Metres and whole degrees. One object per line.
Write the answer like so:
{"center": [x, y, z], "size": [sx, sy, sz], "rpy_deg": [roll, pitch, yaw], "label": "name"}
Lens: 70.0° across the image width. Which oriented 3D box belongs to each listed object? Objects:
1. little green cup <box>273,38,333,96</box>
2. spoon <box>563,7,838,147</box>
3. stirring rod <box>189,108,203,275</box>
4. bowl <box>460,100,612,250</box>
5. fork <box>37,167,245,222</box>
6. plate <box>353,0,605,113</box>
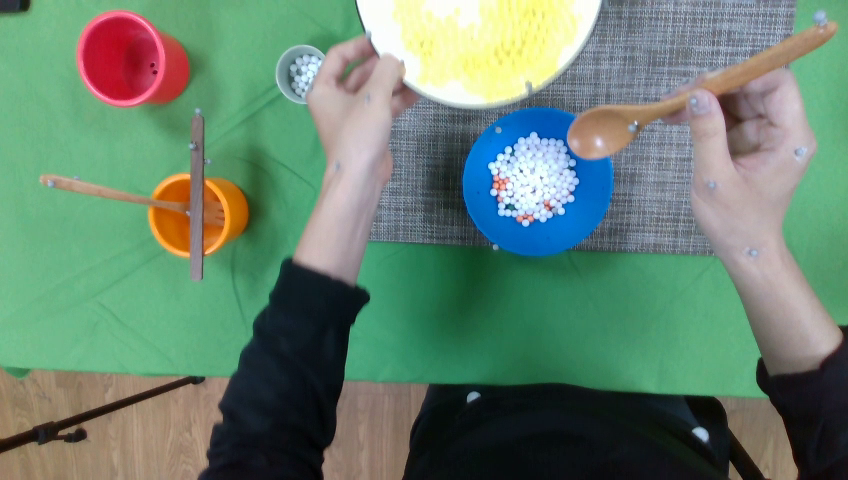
{"center": [-0.130, -0.187, 0.664], "size": [0.061, 0.038, 0.062], "rpy_deg": [1, 100, 6], "label": "little green cup"}
{"center": [0.164, -0.099, 0.394], "size": [0.042, 0.193, 0.021], "rpy_deg": [45, 65, -17], "label": "spoon"}
{"center": [-0.241, -0.049, 0.639], "size": [0.014, 0.006, 0.176], "rpy_deg": [4, 100, 3], "label": "stirring rod"}
{"center": [0.114, -0.070, 0.640], "size": [0.151, 0.076, 0.152], "rpy_deg": [1, 101, 4], "label": "bowl"}
{"center": [-0.292, -0.048, 0.647], "size": [0.209, 0.018, 0.028], "rpy_deg": [12, 107, -41], "label": "fork"}
{"center": [0.045, -0.212, 0.509], "size": [0.209, 0.038, 0.209], "rpy_deg": [0, 101, 3], "label": "plate"}
